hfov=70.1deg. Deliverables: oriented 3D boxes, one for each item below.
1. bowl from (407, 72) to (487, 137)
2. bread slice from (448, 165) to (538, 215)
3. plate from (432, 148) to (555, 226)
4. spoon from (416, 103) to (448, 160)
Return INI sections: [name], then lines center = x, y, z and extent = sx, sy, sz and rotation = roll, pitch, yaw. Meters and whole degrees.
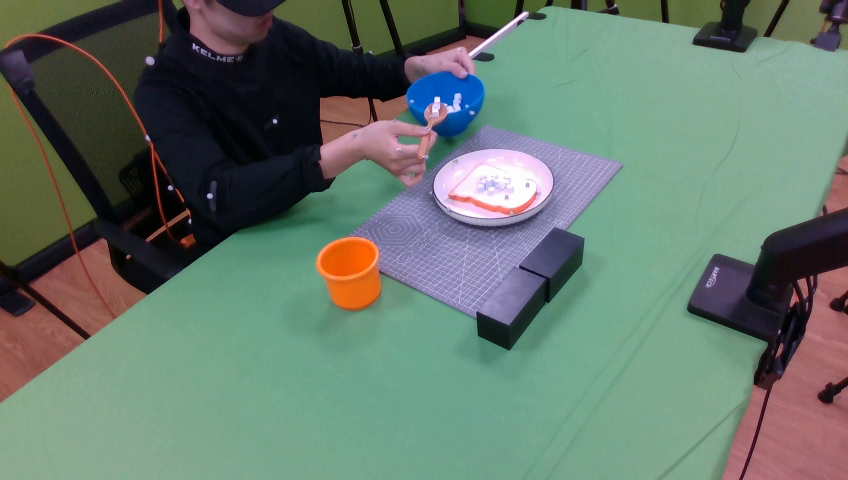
[bowl]
center = 0.047, -0.251, 1.162
extent = 0.151, 0.077, 0.150
rotation = -4, 44, 5
[bread slice]
center = 0.126, -0.085, 1.038
extent = 0.133, 0.018, 0.107
rotation = 16, 45, 27
[plate]
center = 0.119, -0.087, 1.037
extent = 0.209, 0.038, 0.208
rotation = -4, 40, 4
[spoon]
center = 0.008, -0.182, 0.996
extent = 0.041, 0.022, 0.193
rotation = 5, 34, 9
